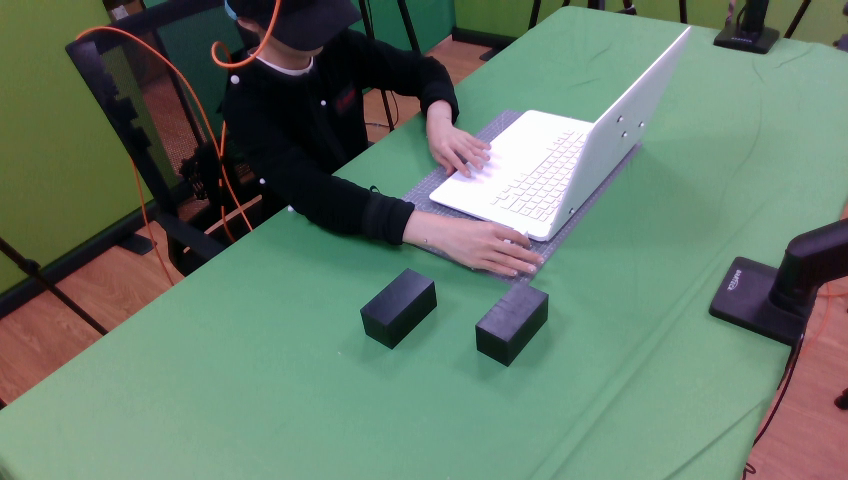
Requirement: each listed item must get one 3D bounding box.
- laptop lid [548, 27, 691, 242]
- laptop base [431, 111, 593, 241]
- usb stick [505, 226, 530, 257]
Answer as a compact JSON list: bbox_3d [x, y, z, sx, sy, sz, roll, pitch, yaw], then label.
[{"bbox_3d":[0.310,-0.168,0.949,0.013,0.242,0.358,33,52,20],"label":"laptop lid"},{"bbox_3d":[0.207,-0.129,1.100,0.233,0.023,0.355,20,47,34],"label":"laptop base"},{"bbox_3d":[0.149,-0.001,0.939,0.021,0.027,0.059,23,46,31],"label":"usb stick"}]
